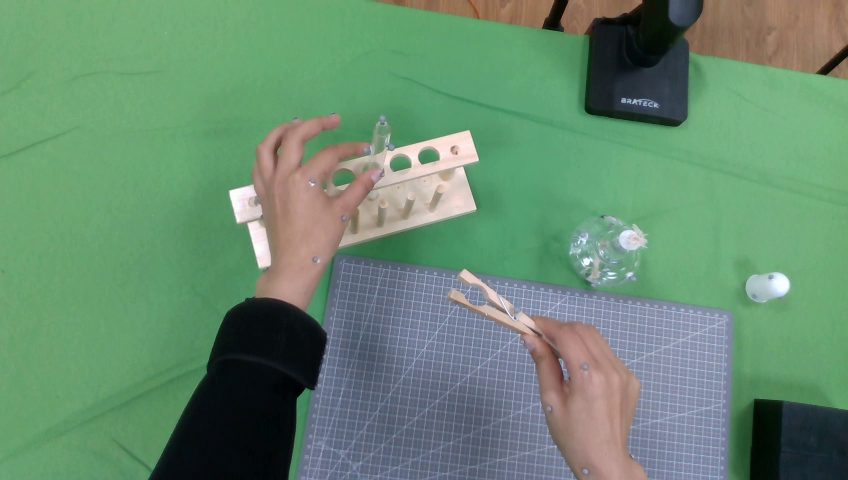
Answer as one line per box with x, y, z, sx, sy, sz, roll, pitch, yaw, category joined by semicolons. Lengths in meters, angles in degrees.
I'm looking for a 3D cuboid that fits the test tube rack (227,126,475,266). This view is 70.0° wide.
-0.067;-0.044;0.628;0.243;0.085;0.066;-16;80;-8;test tube rack

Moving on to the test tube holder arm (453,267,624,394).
0.100;0.079;0.525;0.178;0.015;0.013;35;78;-4;test tube holder arm

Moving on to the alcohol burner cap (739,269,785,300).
0.381;0.048;0.678;0.034;0.048;0.033;1;78;-4;alcohol burner cap

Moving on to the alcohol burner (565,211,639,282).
0.191;0.004;0.631;0.078;0.119;0.077;1;79;-7;alcohol burner

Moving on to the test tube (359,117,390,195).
-0.050;-0.076;0.585;0.017;0.150;0.017;3;72;-10;test tube

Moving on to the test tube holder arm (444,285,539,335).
0.059;0.061;0.520;0.088;0.015;0.010;24;78;-6;test tube holder arm
